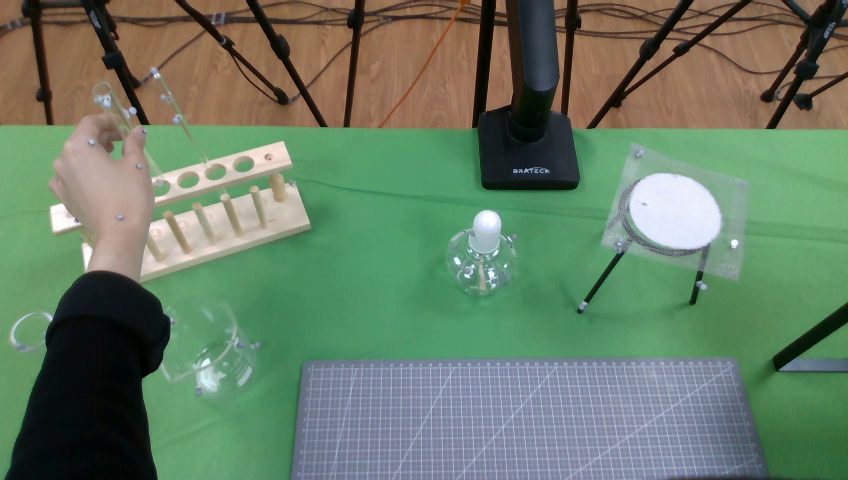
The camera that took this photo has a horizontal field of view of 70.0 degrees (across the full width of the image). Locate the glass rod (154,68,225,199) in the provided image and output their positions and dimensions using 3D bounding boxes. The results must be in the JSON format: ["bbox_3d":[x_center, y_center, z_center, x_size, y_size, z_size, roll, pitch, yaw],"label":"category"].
[{"bbox_3d":[-0.232,-0.094,0.625,0.008,0.201,0.008,-3,53,4],"label":"glass rod"}]

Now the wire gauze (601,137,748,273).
[{"bbox_3d":[0.240,-0.035,0.571,0.121,0.011,0.124,19,62,8],"label":"wire gauze"}]

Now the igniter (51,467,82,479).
[{"bbox_3d":[-0.387,0.285,0.455,0.057,0.025,0.276,40,63,18],"label":"igniter"}]

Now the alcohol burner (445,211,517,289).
[{"bbox_3d":[0.062,0.003,0.636,0.078,0.120,0.077,1,58,-2],"label":"alcohol burner"}]

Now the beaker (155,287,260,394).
[{"bbox_3d":[-0.203,0.103,0.579,0.074,0.101,0.083,13,61,7],"label":"beaker"}]

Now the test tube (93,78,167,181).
[{"bbox_3d":[-0.266,-0.096,0.559,0.017,0.151,0.017,2,66,-4],"label":"test tube"}]

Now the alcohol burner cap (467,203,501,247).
[{"bbox_3d":[0.061,-0.017,0.605,0.034,0.048,0.033,1,58,-1],"label":"alcohol burner cap"}]

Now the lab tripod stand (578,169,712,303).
[{"bbox_3d":[0.232,0.001,0.628,0.148,0.132,0.147,1,58,-2],"label":"lab tripod stand"}]

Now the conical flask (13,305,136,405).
[{"bbox_3d":[-0.328,0.101,0.563,0.075,0.123,0.074,0,59,0],"label":"conical flask"}]

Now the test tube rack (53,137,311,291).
[{"bbox_3d":[-0.256,-0.029,0.663,0.243,0.086,0.066,-19,61,-12],"label":"test tube rack"}]
